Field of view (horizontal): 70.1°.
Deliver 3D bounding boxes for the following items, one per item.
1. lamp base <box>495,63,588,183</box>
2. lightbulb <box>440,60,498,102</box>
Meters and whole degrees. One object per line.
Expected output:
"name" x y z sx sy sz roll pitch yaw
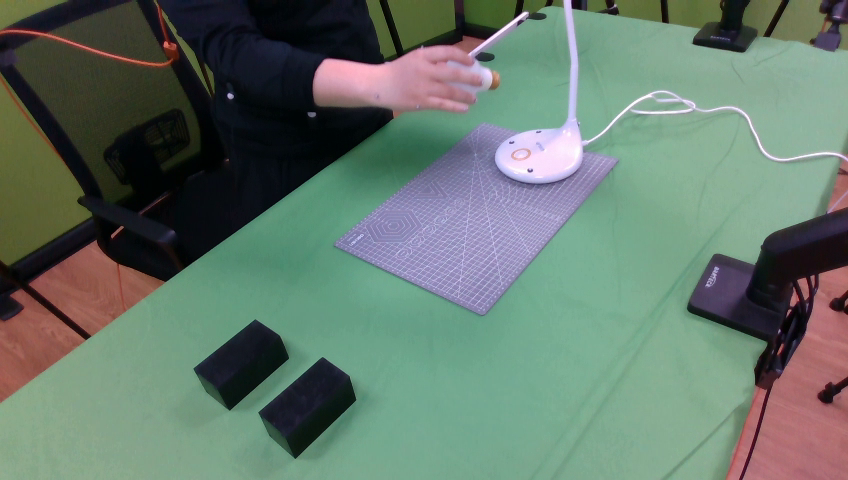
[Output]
"lamp base" 0.215 -0.217 1.067 0.180 0.181 0.159 -19 42 -18
"lightbulb" 0.071 -0.234 0.899 0.108 0.059 0.059 -7 31 -42
